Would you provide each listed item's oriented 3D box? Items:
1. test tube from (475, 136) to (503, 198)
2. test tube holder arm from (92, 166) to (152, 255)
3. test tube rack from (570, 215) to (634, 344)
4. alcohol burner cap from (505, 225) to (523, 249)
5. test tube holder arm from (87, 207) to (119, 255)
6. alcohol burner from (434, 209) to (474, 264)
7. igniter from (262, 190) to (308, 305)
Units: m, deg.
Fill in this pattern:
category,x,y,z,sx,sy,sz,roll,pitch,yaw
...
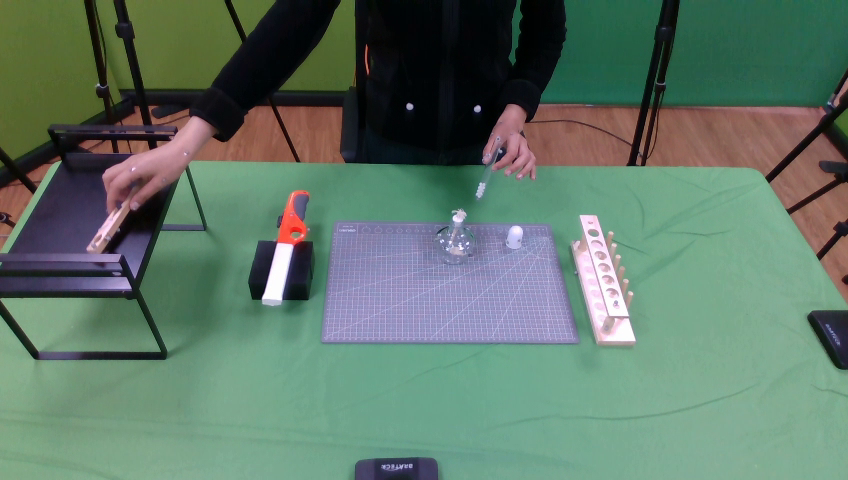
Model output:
category,x,y,z,sx,sy,sz,roll,pitch,yaw
test tube,0.120,-0.134,1.139,0.017,0.151,0.017,7,49,-8
test tube holder arm,-0.468,-0.049,0.944,0.013,0.015,0.177,6,51,10
test tube rack,0.334,0.067,1.116,0.067,0.085,0.241,1,46,-3
alcohol burner cap,0.180,-0.009,1.203,0.034,0.048,0.033,2,47,-2
test tube holder arm,-0.481,-0.016,0.917,0.010,0.015,0.087,6,51,10
alcohol burner,0.058,-0.012,1.147,0.078,0.119,0.077,3,44,-2
igniter,-0.252,0.003,1.107,0.057,0.025,0.275,7,47,-5
